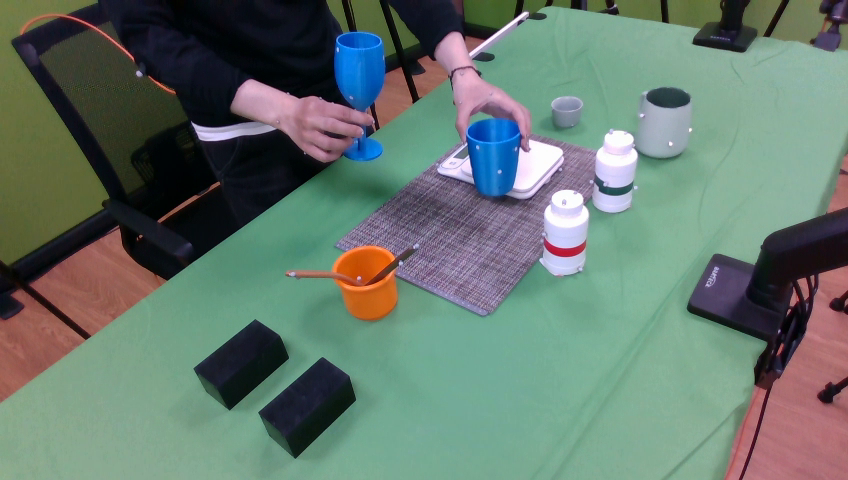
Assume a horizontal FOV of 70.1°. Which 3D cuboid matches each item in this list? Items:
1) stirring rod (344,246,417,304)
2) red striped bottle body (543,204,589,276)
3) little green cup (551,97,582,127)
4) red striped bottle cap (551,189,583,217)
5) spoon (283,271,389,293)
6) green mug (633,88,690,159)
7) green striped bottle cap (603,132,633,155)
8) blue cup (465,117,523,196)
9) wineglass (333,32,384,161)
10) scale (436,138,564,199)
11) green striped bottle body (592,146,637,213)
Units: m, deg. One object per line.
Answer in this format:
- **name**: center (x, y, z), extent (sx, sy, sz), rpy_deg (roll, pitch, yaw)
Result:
- **stirring rod**: center (-0.062, 0.050, 0.819), extent (0.014, 0.175, 0.006), rpy_deg (-2, 63, -41)
- **red striped bottle body**: center (0.205, -0.011, 0.878), extent (0.063, 0.120, 0.062), rpy_deg (-5, 41, 4)
- **little green cup**: center (0.284, -0.255, 1.213), extent (0.061, 0.039, 0.061), rpy_deg (-5, 41, 5)
- **red striped bottle cap**: center (0.199, -0.052, 0.843), extent (0.044, 0.018, 0.044), rpy_deg (-2, 42, 2)
- **spoon**: center (-0.117, 0.054, 0.825), extent (0.041, 0.195, 0.021), rpy_deg (16, 89, 38)
- **green mug**: center (0.423, -0.217, 1.099), extent (0.093, 0.105, 0.124), rpy_deg (-16, 41, -10)
- **green striped bottle cap**: center (0.302, -0.149, 0.939), extent (0.044, 0.020, 0.044), rpy_deg (-3, 40, 3)
- **blue cup**: center (0.108, -0.125, 0.936), extent (0.092, 0.100, 0.092), rpy_deg (-4, 37, 3)
- **wineglass**: center (-0.093, -0.205, 0.878), extent (0.074, 0.173, 0.073), rpy_deg (2, 40, -1)
- **scale**: center (0.137, -0.142, 1.101), extent (0.199, 0.032, 0.149), rpy_deg (22, 48, 30)
- **green striped bottle body**: center (0.307, -0.108, 0.976), extent (0.063, 0.120, 0.063), rpy_deg (-4, 41, 4)
